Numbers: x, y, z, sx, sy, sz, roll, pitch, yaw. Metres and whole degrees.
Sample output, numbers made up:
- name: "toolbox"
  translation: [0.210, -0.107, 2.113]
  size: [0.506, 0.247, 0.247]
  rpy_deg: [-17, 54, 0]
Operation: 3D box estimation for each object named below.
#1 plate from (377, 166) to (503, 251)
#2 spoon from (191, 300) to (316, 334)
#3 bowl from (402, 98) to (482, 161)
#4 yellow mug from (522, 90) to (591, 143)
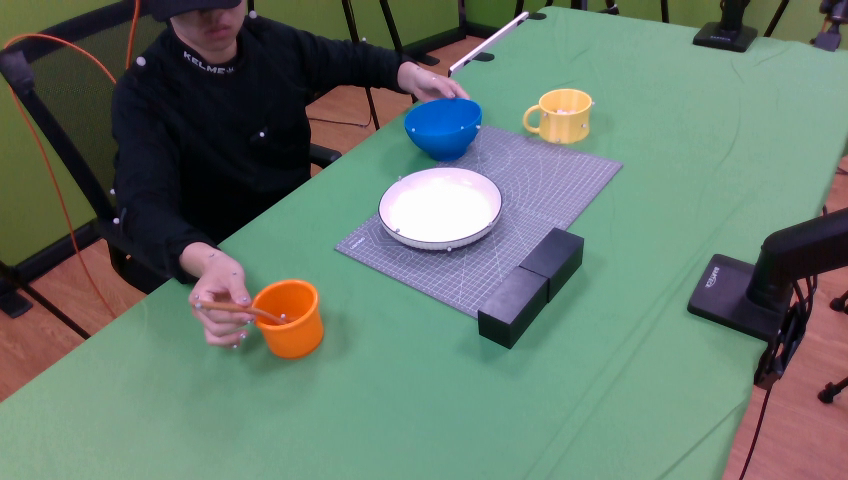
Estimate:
- name: "plate"
  translation: [0.027, -0.050, 1.007]
  size: [0.209, 0.038, 0.208]
  rpy_deg: [-4, 41, 4]
- name: "spoon"
  translation: [-0.214, 0.097, 0.778]
  size: [0.041, 0.195, 0.021]
  rpy_deg: [24, 87, 40]
- name: "bowl"
  translation: [0.040, -0.202, 1.154]
  size: [0.151, 0.077, 0.150]
  rpy_deg: [-7, 37, 6]
- name: "yellow mug"
  translation: [0.257, -0.239, 1.177]
  size: [0.131, 0.064, 0.099]
  rpy_deg: [-6, 40, 3]
